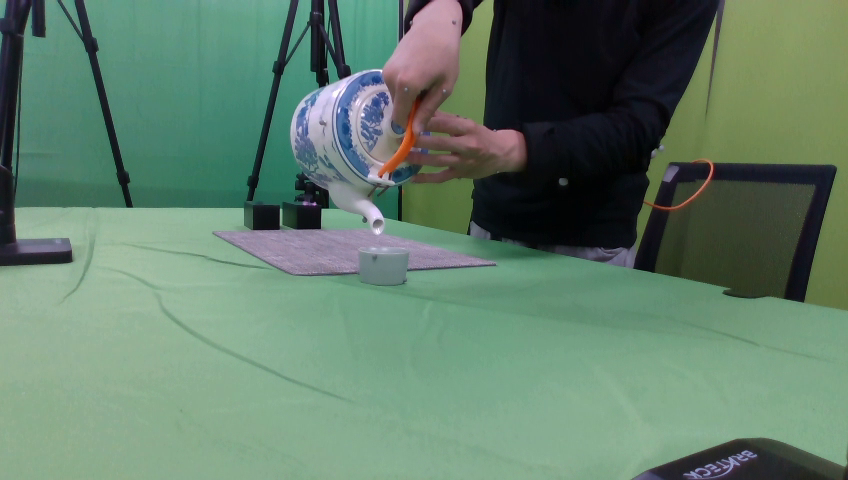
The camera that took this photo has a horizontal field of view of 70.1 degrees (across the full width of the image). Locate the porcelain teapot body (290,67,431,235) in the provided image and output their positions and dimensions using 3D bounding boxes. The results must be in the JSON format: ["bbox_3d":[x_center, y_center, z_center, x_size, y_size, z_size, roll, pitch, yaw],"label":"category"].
[{"bbox_3d":[-0.067,-0.108,0.758,0.146,0.205,0.224,7,-3,-36],"label":"porcelain teapot body"}]

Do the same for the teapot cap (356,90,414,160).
[{"bbox_3d":[-0.043,-0.138,0.725,0.085,0.085,0.043,-3,6,-37],"label":"teapot cap"}]

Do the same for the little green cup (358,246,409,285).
[{"bbox_3d":[-0.048,0.029,0.707,0.061,0.038,0.061,2,8,0],"label":"little green cup"}]
